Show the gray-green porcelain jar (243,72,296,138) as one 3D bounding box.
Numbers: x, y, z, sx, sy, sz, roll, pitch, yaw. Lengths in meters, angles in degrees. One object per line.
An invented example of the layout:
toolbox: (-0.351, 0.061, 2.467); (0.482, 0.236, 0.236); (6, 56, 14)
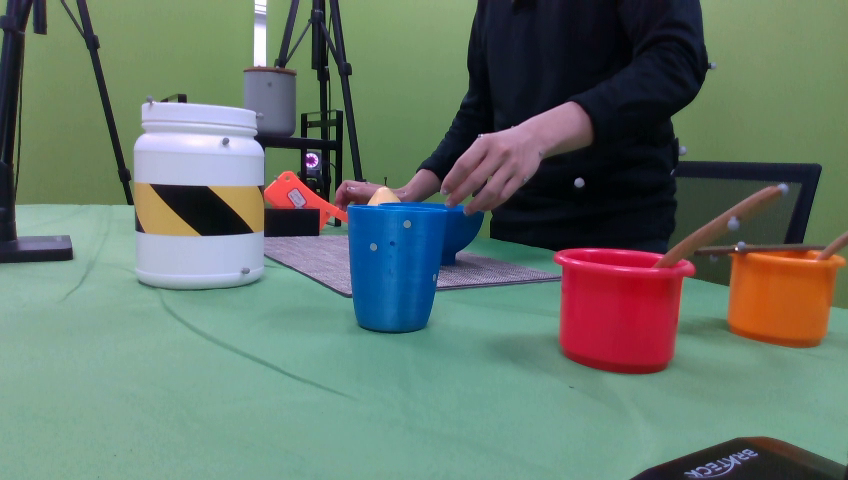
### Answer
gray-green porcelain jar: (-0.322, -0.279, 1.263); (0.106, 0.126, 0.106); (3, 8, 0)

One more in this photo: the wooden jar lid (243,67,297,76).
wooden jar lid: (-0.319, -0.342, 1.254); (0.108, 0.020, 0.108); (3, 8, 0)

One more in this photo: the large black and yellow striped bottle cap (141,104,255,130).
large black and yellow striped bottle cap: (-0.241, -0.131, 0.650); (0.115, 0.019, 0.115); (3, 8, 0)

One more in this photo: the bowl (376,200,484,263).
bowl: (0.007, -0.012, 0.842); (0.151, 0.077, 0.151); (2, 8, 0)

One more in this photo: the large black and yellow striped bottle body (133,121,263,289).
large black and yellow striped bottle body: (-0.243, -0.048, 0.659); (0.131, 0.184, 0.130); (2, 7, 0)

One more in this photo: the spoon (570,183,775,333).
spoon: (0.160, 0.020, 0.413); (0.042, 0.021, 0.193); (0, -36, -23)

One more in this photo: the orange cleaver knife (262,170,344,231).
orange cleaver knife: (-0.201, -0.057, 1.136); (0.212, 0.077, 0.012); (31, -3, -31)

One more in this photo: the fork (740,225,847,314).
fork: (0.323, 0.013, 0.485); (0.028, 0.018, 0.207); (9, -37, -5)

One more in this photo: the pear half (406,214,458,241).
pear half: (0.007, -0.020, 0.847); (0.070, 0.031, 0.088); (2, 11, 39)

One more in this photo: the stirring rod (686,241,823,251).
stirring rod: (0.289, 0.005, 0.525); (0.177, 0.006, 0.014); (-1, 5, -26)

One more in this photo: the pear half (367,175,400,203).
pear half: (-0.064, -0.061, 1.077); (0.055, 0.110, 0.077); (9, 13, 39)

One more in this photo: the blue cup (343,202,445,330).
blue cup: (-0.027, 0.021, 0.510); (0.093, 0.100, 0.092); (3, 5, 0)
